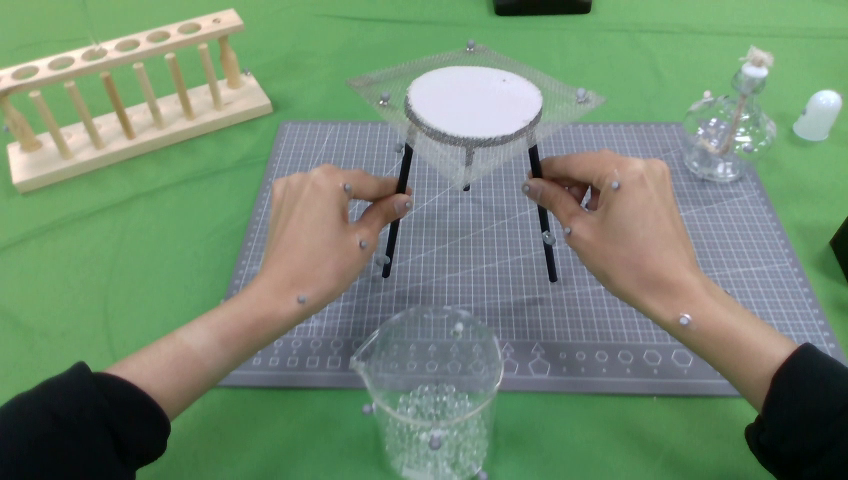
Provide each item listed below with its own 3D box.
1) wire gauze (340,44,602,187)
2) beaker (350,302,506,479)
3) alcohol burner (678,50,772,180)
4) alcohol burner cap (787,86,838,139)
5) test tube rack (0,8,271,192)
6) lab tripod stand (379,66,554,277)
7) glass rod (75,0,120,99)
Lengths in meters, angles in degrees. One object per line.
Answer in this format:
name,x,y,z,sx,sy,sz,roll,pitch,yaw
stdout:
wire gauze,0.028,-0.090,0.385,0.121,0.011,0.124,-28,51,-26
beaker,0.002,0.095,0.355,0.084,0.101,0.073,3,48,5
alcohol burner,0.263,-0.111,0.518,0.078,0.120,0.077,0,50,0
alcohol burner cap,0.376,-0.125,0.581,0.034,0.048,0.033,0,48,1
test tube rack,-0.280,-0.137,0.575,0.243,0.086,0.066,-23,52,-19
lab tripod stand,0.034,-0.044,0.435,0.148,0.132,0.147,1,44,0
glass rod,-0.291,-0.182,0.527,0.008,0.201,0.008,3,49,-3
